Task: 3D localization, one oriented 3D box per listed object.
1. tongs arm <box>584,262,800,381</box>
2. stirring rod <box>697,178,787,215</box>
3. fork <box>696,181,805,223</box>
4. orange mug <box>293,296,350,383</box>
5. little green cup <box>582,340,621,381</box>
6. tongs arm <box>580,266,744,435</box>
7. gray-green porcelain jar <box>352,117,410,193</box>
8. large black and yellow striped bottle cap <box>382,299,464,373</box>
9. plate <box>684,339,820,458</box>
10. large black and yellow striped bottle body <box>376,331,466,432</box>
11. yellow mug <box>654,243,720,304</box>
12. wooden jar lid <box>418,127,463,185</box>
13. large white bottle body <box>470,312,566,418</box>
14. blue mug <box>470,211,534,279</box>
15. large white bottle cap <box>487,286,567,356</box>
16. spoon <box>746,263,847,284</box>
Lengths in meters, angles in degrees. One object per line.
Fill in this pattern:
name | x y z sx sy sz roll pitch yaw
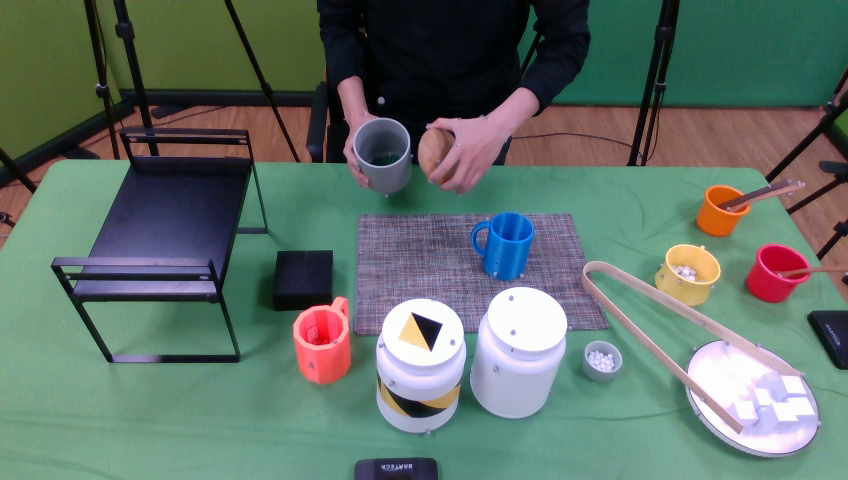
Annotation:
tongs arm | 0.451 0.137 1.064 0.051 0.027 0.382 -34 50 -27
stirring rod | 0.650 -0.088 1.245 0.006 0.176 0.014 29 49 -39
fork | 0.659 -0.077 1.232 0.207 0.019 0.028 -26 35 34
orange mug | -0.157 0.154 0.985 0.083 0.101 0.125 17 52 11
little green cup | 0.295 0.204 1.014 0.061 0.039 0.061 2 45 -2
tongs arm | 0.384 0.173 1.028 0.028 0.028 0.385 -25 46 -15
gray-green porcelain jar | -0.079 -0.157 1.158 0.106 0.127 0.105 0 70 0
large black and yellow striped bottle cap | -0.002 0.132 0.843 0.115 0.019 0.114 2 46 -1
plate | 0.523 0.256 0.982 0.208 0.039 0.206 2 46 -2
large black and yellow striped bottle body | -0.007 0.189 0.905 0.131 0.185 0.130 2 46 -2
yellow mug | 0.504 0.054 1.154 0.099 0.064 0.130 28 49 22
wooden jar lid | 0.028 -0.153 1.116 0.020 0.109 0.108 -12 30 45
large white bottle body | 0.143 0.173 0.930 0.131 0.185 0.130 2 46 -2
blue mug | 0.141 0.005 1.140 0.116 0.106 0.082 18 48 13
large white bottle cap | 0.147 0.114 0.869 0.115 0.018 0.114 3 46 -3
spoon | 0.696 0.057 1.113 0.193 0.022 0.041 -16 27 48
